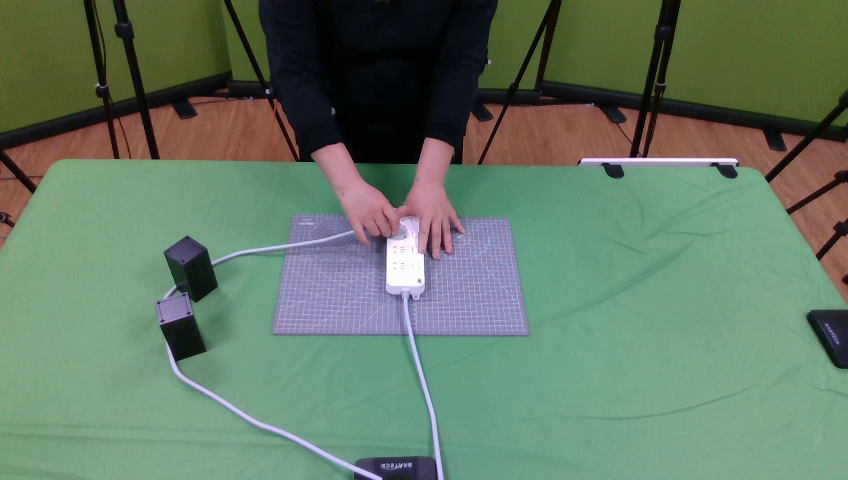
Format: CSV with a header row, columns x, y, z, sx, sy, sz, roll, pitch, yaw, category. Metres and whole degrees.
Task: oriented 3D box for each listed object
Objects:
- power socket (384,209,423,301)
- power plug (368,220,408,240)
x,y,z,sx,sy,sz,roll,pitch,yaw,category
-0.039,0.019,1.165,0.072,0.033,0.225,0,46,-3,power socket
-0.068,-0.018,1.173,0.072,0.053,0.035,8,48,9,power plug
